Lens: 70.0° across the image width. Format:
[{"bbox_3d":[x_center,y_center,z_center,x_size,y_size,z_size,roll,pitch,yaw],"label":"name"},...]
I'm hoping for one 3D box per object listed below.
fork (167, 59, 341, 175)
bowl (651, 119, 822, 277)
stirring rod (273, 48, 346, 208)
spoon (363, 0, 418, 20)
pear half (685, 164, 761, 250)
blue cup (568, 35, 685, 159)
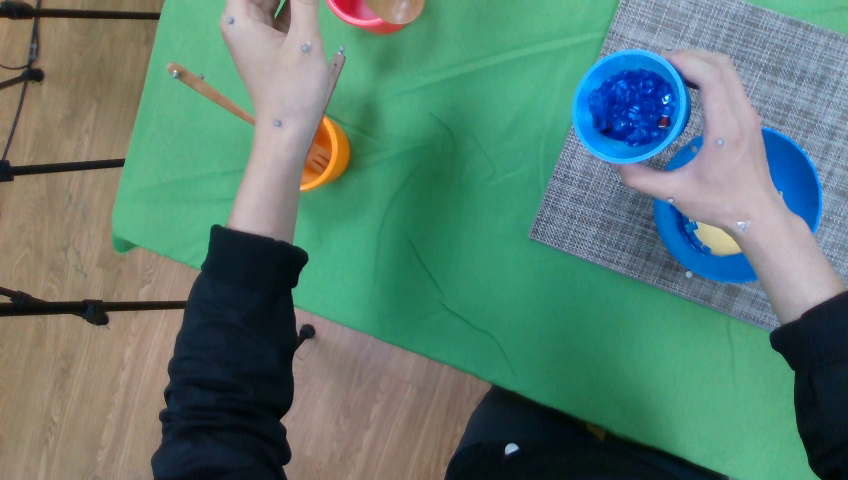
[{"bbox_3d":[-0.171,-0.126,0.635,0.028,0.018,0.209,-42,134,19],"label":"fork"},{"bbox_3d":[0.300,-0.042,0.608,0.151,0.077,0.151,1,97,9],"label":"bowl"},{"bbox_3d":[-0.120,-0.114,0.628,0.014,0.006,0.176,25,101,2],"label":"stirring rod"},{"bbox_3d":[-0.071,-0.209,0.466,0.021,0.195,0.042,50,119,24],"label":"spoon"},{"bbox_3d":[0.301,-0.034,0.603,0.070,0.031,0.088,-6,91,6],"label":"pear half"},{"bbox_3d":[0.177,-0.113,0.505,0.092,0.100,0.093,7,103,30],"label":"blue cup"}]
